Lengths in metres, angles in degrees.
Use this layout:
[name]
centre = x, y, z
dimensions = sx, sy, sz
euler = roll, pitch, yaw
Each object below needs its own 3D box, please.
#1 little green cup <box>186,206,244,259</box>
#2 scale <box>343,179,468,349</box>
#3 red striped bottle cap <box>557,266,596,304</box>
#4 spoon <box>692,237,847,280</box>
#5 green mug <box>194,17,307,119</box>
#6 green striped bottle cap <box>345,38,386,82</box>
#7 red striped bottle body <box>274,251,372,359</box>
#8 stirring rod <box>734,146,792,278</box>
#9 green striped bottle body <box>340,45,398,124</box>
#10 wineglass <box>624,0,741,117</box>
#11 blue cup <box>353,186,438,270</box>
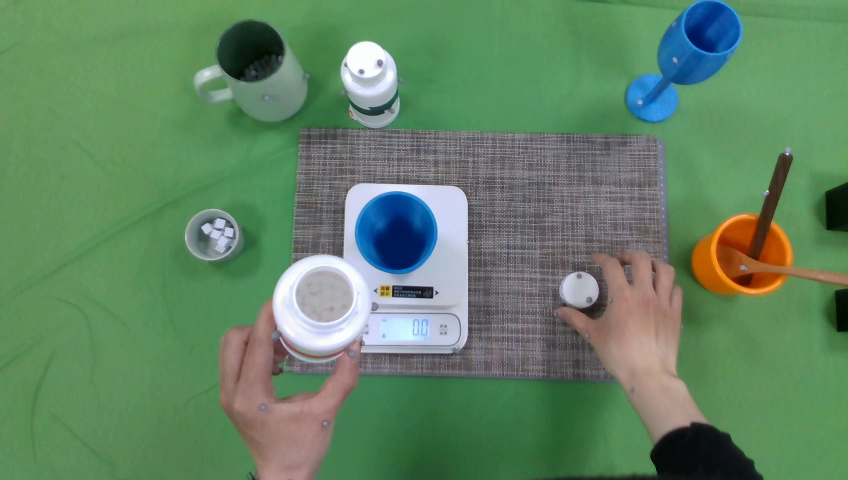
[little green cup]
centre = -0.245, -0.006, 0.720
dimensions = 0.061, 0.039, 0.061
euler = 0, 80, -2
[scale]
centre = -0.022, 0.027, 0.717
dimensions = 0.149, 0.031, 0.200
euler = 0, 81, 0
[red striped bottle cap]
centre = 0.181, 0.054, 0.720
dimensions = 0.045, 0.018, 0.044
euler = 3, 77, -14
[spoon]
centre = 0.393, 0.027, 0.665
dimensions = 0.022, 0.192, 0.041
euler = 18, 86, -41
[green mug]
centre = -0.208, -0.196, 0.720
dimensions = 0.125, 0.105, 0.092
euler = -21, 81, -3
[green striped bottle cap]
centre = -0.064, -0.197, 0.661
dimensions = 0.044, 0.020, 0.044
euler = 0, 79, -1
[red striped bottle body]
centre = -0.071, 0.046, 0.418
dimensions = 0.063, 0.120, 0.062
euler = 3, 73, -12
[stirring rod]
centre = 0.375, -0.025, 0.674
dimensions = 0.014, 0.178, 0.006
euler = 7, 39, 14
[green striped bottle body]
centre = -0.063, -0.187, 0.712
dimensions = 0.063, 0.119, 0.063
euler = 0, 79, 0
[wineglass]
centre = 0.288, -0.203, 0.691
dimensions = 0.074, 0.173, 0.073
euler = 0, 80, 0
[blue cup]
centre = -0.028, -0.005, 0.656
dimensions = 0.092, 0.100, 0.092
euler = 0, 82, 0
